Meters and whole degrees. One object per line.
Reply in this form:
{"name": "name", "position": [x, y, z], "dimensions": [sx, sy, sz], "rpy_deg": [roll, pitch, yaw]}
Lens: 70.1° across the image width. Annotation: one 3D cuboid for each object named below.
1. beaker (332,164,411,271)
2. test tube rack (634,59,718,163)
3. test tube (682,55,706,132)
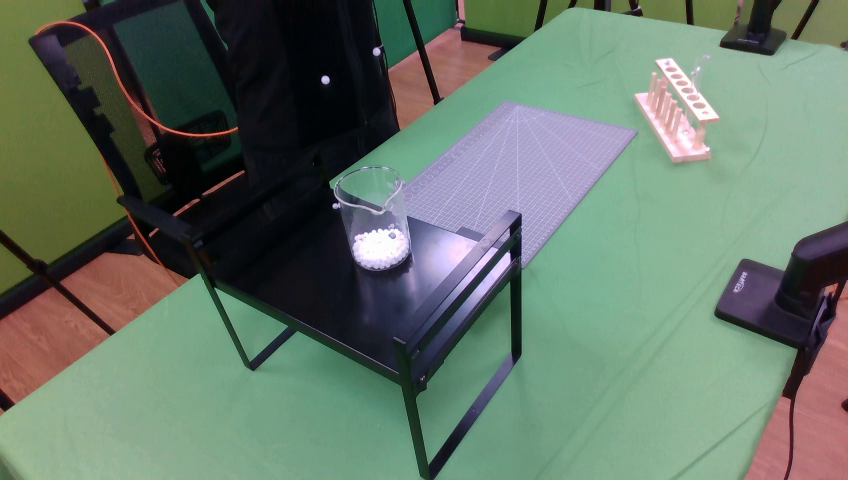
{"name": "beaker", "position": [-0.053, -0.020, 0.669], "dimensions": [0.074, 0.101, 0.083], "rpy_deg": [-19, 42, -12]}
{"name": "test tube rack", "position": [0.470, -0.250, 1.148], "dimensions": [0.067, 0.085, 0.241], "rpy_deg": [-6, 40, 3]}
{"name": "test tube", "position": [0.480, -0.258, 1.080], "dimensions": [0.017, 0.151, 0.017], "rpy_deg": [-5, 43, 5]}
